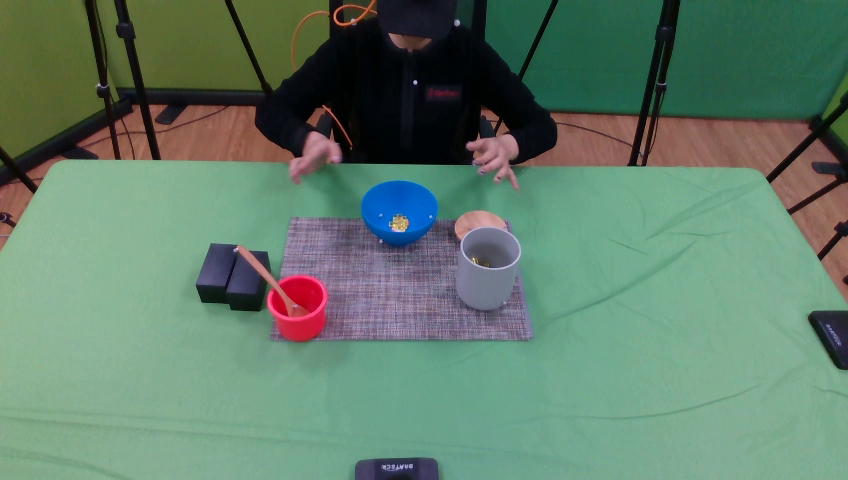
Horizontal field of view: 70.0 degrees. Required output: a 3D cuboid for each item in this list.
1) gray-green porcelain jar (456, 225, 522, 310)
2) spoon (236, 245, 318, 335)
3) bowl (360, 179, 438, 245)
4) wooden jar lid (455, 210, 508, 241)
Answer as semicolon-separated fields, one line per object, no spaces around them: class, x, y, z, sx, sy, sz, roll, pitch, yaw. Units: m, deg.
gray-green porcelain jar;0.111;0.054;1.076;0.106;0.127;0.105;2;46;-2
spoon;-0.245;0.082;1.011;0.194;0.021;0.041;55;52;-15
bowl;-0.049;-0.042;1.190;0.151;0.077;0.150;2;46;-2
wooden jar lid;0.115;-0.018;1.220;0.108;0.021;0.107;3;47;-3
